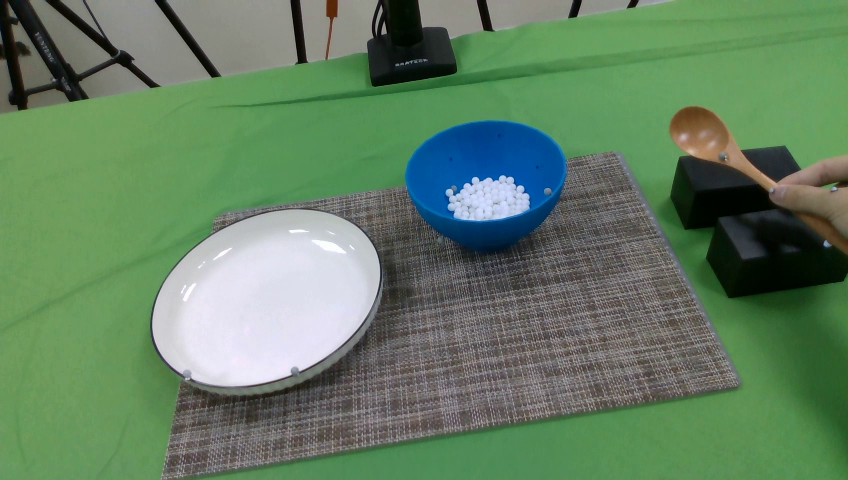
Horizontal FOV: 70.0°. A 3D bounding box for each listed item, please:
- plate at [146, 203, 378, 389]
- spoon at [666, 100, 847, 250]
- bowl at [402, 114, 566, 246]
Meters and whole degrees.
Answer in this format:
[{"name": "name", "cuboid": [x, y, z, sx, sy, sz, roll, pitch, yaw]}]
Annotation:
[{"name": "plate", "cuboid": [-0.143, 0.050, 0.556, 0.207, 0.039, 0.205, -4, 46, 5]}, {"name": "spoon", "cuboid": [0.282, -0.053, 0.505, 0.041, 0.022, 0.192, -49, 61, 16]}, {"name": "bowl", "cuboid": [0.059, -0.047, 0.586, 0.151, 0.077, 0.150, -4, 46, 5]}]
